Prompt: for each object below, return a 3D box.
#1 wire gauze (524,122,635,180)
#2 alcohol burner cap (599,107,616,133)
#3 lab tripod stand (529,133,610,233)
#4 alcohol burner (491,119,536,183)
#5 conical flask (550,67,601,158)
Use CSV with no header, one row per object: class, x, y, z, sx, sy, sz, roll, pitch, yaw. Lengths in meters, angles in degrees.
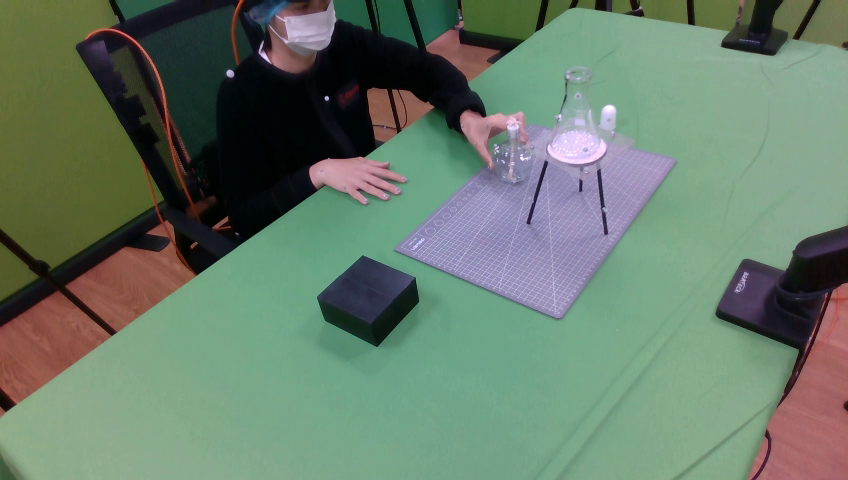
wire gauze,0.233,-0.142,0.913,0.122,0.011,0.124,-31,43,-26
alcohol burner cap,0.361,-0.238,1.189,0.034,0.048,0.033,-4,40,4
lab tripod stand,0.236,-0.089,0.953,0.148,0.132,0.147,-5,42,5
alcohol burner,0.157,-0.160,1.060,0.078,0.119,0.077,-2,41,2
conical flask,0.221,-0.186,0.875,0.075,0.122,0.075,-5,40,5
